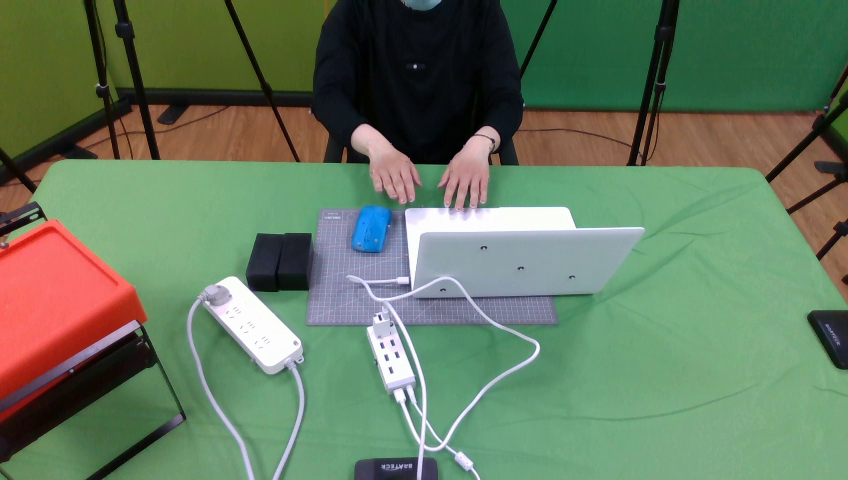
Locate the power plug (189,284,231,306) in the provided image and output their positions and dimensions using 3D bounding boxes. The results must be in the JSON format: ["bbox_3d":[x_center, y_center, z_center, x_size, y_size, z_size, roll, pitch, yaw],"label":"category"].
[{"bbox_3d":[-0.367,0.100,1.037,0.072,0.053,0.035,-24,54,-26],"label":"power plug"}]

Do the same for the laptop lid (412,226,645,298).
[{"bbox_3d":[0.161,0.042,1.012,0.357,0.242,0.013,0,59,-7],"label":"laptop lid"}]

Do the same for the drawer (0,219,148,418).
[{"bbox_3d":[-0.509,0.093,0.783,0.193,0.073,0.211,32,53,24],"label":"drawer"}]

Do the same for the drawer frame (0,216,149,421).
[{"bbox_3d":[-0.510,0.093,0.780,0.201,0.083,0.213,31,52,23],"label":"drawer frame"}]

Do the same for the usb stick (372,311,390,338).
[{"bbox_3d":[-0.073,0.145,1.012,0.027,0.059,0.021,-13,50,-18],"label":"usb stick"}]

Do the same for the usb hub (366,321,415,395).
[{"bbox_3d":[-0.056,0.194,1.007,0.049,0.025,0.124,-13,49,-15],"label":"usb hub"}]

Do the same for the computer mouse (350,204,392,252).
[{"bbox_3d":[-0.104,-0.027,1.202,0.063,0.041,0.116,11,51,4],"label":"computer mouse"}]

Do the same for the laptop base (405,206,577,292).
[{"bbox_3d":[0.143,0.018,1.196,0.355,0.023,0.234,-1,43,-6],"label":"laptop base"}]

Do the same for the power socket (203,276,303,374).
[{"bbox_3d":[-0.296,0.141,1.034,0.072,0.033,0.225,-35,58,-30],"label":"power socket"}]
